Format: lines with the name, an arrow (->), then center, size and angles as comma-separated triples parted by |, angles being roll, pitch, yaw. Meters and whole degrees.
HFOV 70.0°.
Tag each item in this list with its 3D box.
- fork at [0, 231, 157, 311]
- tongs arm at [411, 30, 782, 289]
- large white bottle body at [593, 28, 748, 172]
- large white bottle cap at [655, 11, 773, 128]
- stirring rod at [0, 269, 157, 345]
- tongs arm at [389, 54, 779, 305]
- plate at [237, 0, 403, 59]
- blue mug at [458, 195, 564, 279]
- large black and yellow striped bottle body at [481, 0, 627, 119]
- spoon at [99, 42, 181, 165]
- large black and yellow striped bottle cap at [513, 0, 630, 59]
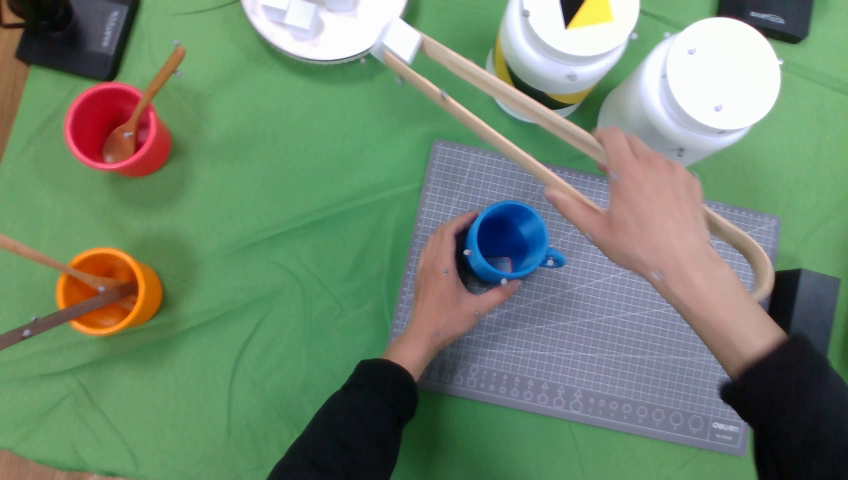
fork -> -0.376, 0.026, 0.632 | 0.209, 0.018, 0.028 | 37, 78, -43
tongs arm -> 0.142, -0.080, 0.539 | 0.386, 0.028, 0.028 | 35, 70, 10
large white bottle body -> 0.280, -0.156, 0.678 | 0.131, 0.185, 0.130 | 0, 84, -3
large white bottle cap -> 0.284, -0.167, 0.594 | 0.115, 0.018, 0.114 | 1, 84, -4
stirring rod -> -0.362, 0.068, 0.635 | 0.176, 0.006, 0.014 | -30, 89, -49
tongs arm -> 0.128, -0.063, 0.533 | 0.383, 0.027, 0.050 | 40, 74, 11
plate -> -0.126, -0.318, 0.741 | 0.208, 0.039, 0.207 | 0, 84, -4
blue mug -> 0.101, 0.005, 0.686 | 0.116, 0.106, 0.082 | 18, 82, -2
large black and yellow striped bottle body -> 0.140, -0.224, 0.675 | 0.131, 0.184, 0.130 | 0, 83, -4
spoon -> -0.310, -0.145, 0.658 | 0.194, 0.022, 0.041 | -37, 82, 37
large black and yellow striped bottle cap -> 0.145, -0.236, 0.593 | 0.115, 0.019, 0.114 | 0, 85, -5
